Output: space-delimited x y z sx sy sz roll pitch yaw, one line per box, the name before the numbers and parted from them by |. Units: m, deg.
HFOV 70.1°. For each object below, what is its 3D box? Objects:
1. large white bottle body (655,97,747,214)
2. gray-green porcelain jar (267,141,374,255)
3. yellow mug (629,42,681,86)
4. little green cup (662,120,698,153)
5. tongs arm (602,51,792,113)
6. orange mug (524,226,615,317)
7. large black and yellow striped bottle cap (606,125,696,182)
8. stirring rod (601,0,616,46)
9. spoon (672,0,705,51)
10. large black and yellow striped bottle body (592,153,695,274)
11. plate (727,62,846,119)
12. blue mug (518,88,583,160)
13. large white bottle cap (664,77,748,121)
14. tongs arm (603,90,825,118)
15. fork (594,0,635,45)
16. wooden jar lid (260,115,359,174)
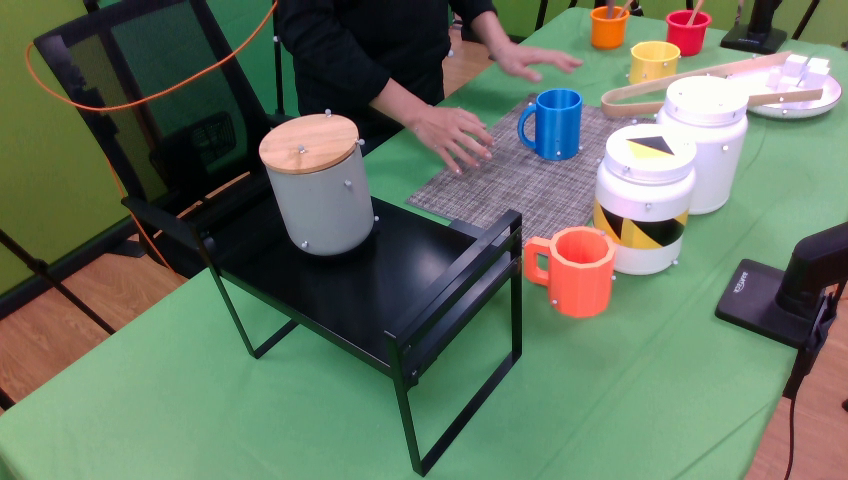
large white bottle body | 0.431 -0.148 0.959 0.130 0.185 0.130 -4 41 4
gray-green porcelain jar | -0.117 -0.054 0.703 0.106 0.127 0.105 -4 40 4
yellow mug | 0.495 -0.389 1.322 0.100 0.064 0.130 -14 39 -6
little green cup | 0.469 -0.191 1.117 0.061 0.039 0.061 -5 41 5
tongs arm | 0.552 -0.320 1.224 0.384 0.027 0.050 -10 43 7
orange mug | 0.201 0.039 0.845 0.125 0.101 0.083 18 46 21
large black and yellow striped bottle cap | 0.305 -0.119 0.816 0.115 0.019 0.114 -5 41 5
stirring rod | 0.452 -0.554 1.464 0.014 0.006 0.176 11 86 15
spoon | 0.628 -0.521 1.395 0.041 0.022 0.193 30 97 39
large black and yellow striped bottle body | 0.313 -0.056 0.872 0.131 0.185 0.130 -4 41 4
plate | 0.709 -0.292 1.197 0.207 0.039 0.206 -4 40 4
blue mug | 0.233 -0.213 1.121 0.116 0.106 0.082 -6 41 3
large white bottle cap | 0.421 -0.212 0.905 0.115 0.018 0.114 -4 40 4
tongs arm | 0.546 -0.262 1.163 0.386 0.028 0.028 -1 49 18
fork | 0.485 -0.552 1.447 0.207 0.019 0.028 -51 46 17
wooden jar lid | -0.124 -0.101 0.662 0.108 0.021 0.108 -4 41 4
